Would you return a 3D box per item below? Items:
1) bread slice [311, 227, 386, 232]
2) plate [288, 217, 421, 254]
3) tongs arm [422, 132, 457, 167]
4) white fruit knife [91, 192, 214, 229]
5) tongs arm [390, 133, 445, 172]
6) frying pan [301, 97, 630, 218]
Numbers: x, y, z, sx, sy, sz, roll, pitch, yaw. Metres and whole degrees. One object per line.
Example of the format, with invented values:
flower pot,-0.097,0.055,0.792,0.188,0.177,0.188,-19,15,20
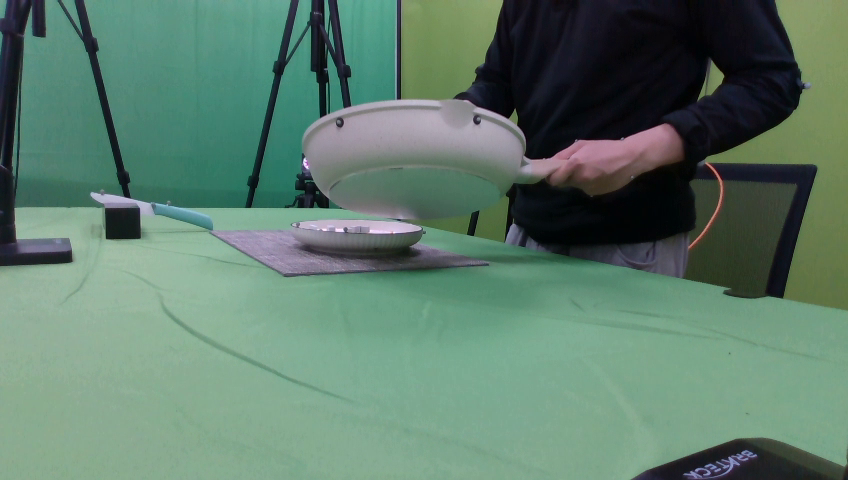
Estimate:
bread slice,-0.115,-0.005,0.950,0.134,0.018,0.107,4,6,-7
plate,-0.109,-0.008,0.956,0.208,0.039,0.207,2,7,0
tongs arm,0.025,-0.137,0.884,0.028,0.028,0.388,-11,11,10
white fruit knife,-0.478,-0.055,1.078,0.208,0.027,0.016,14,0,-30
tongs arm,-0.001,-0.134,0.888,0.051,0.026,0.385,-8,11,6
frying pan,0.084,-0.101,0.828,0.490,0.102,0.306,-5,-10,-21
